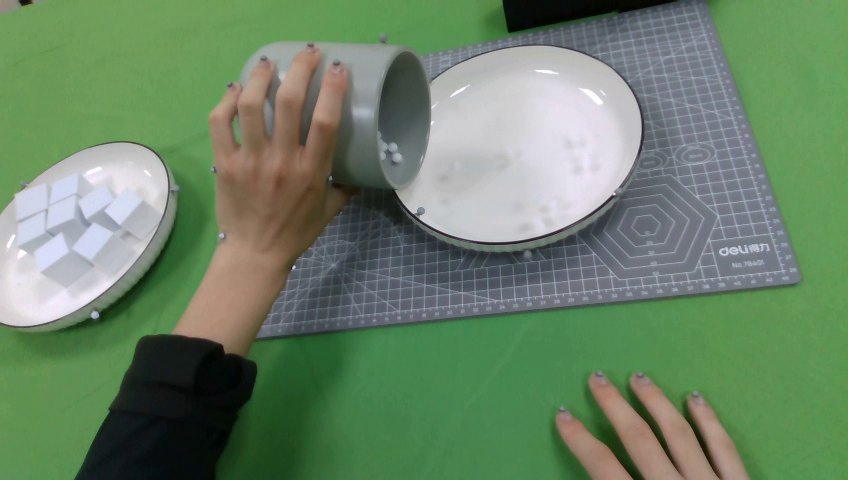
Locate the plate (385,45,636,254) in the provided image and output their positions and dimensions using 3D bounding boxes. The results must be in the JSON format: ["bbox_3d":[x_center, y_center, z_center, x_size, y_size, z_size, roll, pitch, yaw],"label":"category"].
[{"bbox_3d":[0.066,-0.075,0.501,0.209,0.038,0.207,-8,57,13],"label":"plate"}]

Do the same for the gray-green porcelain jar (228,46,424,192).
[{"bbox_3d":[-0.076,-0.095,0.470,0.126,0.107,0.105,8,61,19],"label":"gray-green porcelain jar"}]

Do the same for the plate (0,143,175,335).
[{"bbox_3d":[-0.330,-0.002,0.582,0.207,0.039,0.205,-8,57,13],"label":"plate"}]
